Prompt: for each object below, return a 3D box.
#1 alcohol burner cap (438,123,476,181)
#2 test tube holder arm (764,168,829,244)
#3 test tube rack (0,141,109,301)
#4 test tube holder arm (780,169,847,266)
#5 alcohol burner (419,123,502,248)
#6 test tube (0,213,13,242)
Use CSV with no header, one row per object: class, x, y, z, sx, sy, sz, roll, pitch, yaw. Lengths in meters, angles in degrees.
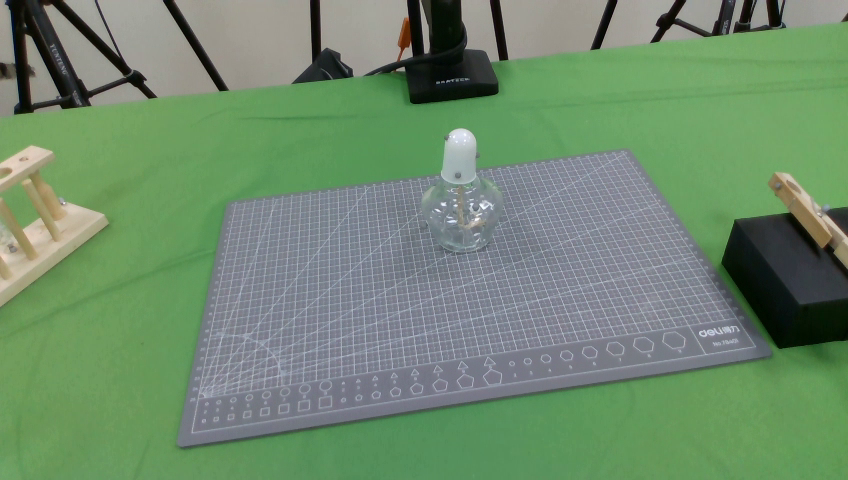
alcohol burner cap,0.030,-0.079,0.529,0.034,0.048,0.033,1,41,-1
test tube holder arm,0.309,-0.030,0.501,0.010,0.015,0.087,-1,42,-7
test tube rack,-0.423,0.012,0.554,0.066,0.086,0.241,16,46,22
test tube holder arm,0.319,0.000,0.469,0.013,0.015,0.176,-1,42,-7
alcohol burner,0.032,-0.052,0.554,0.078,0.120,0.077,-3,40,3
test tube,-0.424,-0.058,0.558,0.017,0.151,0.017,-4,39,4
